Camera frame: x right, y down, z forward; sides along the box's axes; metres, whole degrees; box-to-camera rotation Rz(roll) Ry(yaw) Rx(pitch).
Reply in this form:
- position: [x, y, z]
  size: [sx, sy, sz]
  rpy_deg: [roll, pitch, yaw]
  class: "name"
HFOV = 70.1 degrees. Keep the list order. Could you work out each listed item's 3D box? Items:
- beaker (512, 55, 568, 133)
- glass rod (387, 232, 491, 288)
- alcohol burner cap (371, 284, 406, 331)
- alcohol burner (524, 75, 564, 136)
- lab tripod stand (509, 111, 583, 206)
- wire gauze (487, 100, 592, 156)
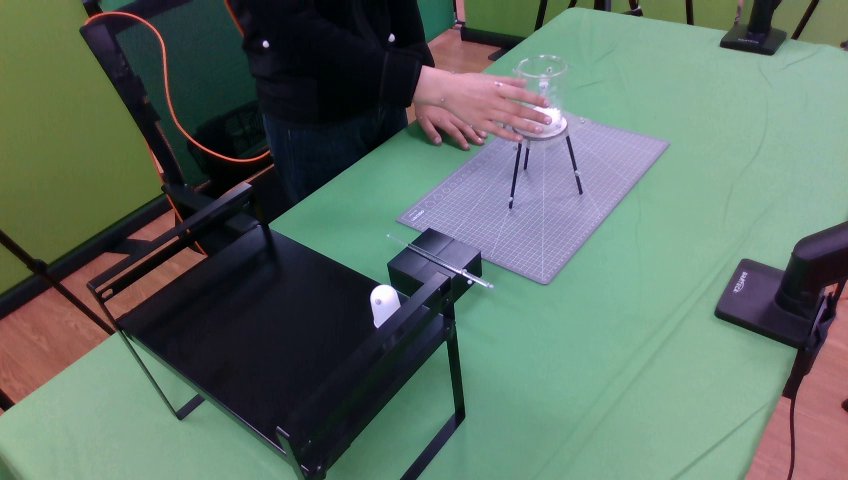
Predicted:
- position: [0.181, -0.226, 0.946]
  size: [0.084, 0.101, 0.074]
  rpy_deg: [3, 41, 12]
  class: "beaker"
- position: [0.017, 0.027, 0.877]
  size: [0.198, 0.008, 0.008]
  rpy_deg: [26, 51, 34]
  class: "glass rod"
- position: [-0.037, 0.065, 0.608]
  size: [0.034, 0.048, 0.033]
  rpy_deg: [-4, 41, 4]
  class: "alcohol burner cap"
- position: [0.232, -0.263, 1.175]
  size: [0.078, 0.119, 0.077]
  rpy_deg: [-6, 39, 5]
  class: "alcohol burner"
- position: [0.198, -0.139, 1.020]
  size: [0.148, 0.132, 0.147]
  rpy_deg: [-3, 39, 3]
  class: "lab tripod stand"
- position: [0.185, -0.187, 0.974]
  size: [0.122, 0.011, 0.124]
  rpy_deg: [-28, 46, -22]
  class: "wire gauze"
